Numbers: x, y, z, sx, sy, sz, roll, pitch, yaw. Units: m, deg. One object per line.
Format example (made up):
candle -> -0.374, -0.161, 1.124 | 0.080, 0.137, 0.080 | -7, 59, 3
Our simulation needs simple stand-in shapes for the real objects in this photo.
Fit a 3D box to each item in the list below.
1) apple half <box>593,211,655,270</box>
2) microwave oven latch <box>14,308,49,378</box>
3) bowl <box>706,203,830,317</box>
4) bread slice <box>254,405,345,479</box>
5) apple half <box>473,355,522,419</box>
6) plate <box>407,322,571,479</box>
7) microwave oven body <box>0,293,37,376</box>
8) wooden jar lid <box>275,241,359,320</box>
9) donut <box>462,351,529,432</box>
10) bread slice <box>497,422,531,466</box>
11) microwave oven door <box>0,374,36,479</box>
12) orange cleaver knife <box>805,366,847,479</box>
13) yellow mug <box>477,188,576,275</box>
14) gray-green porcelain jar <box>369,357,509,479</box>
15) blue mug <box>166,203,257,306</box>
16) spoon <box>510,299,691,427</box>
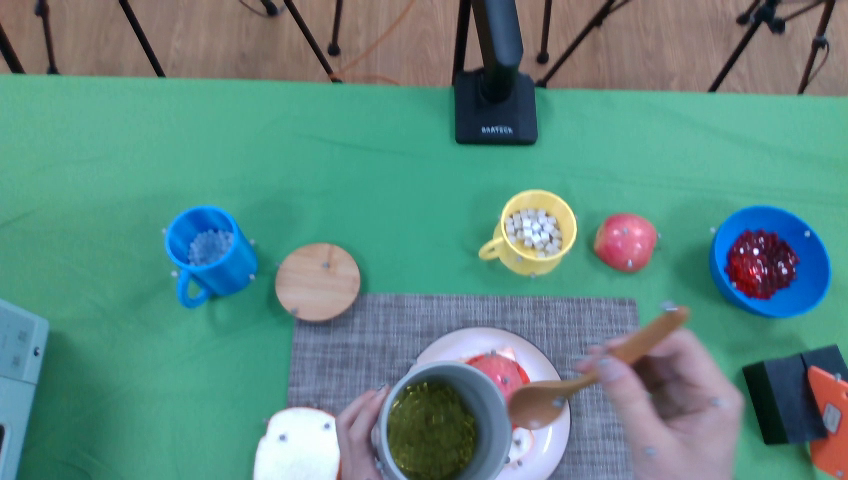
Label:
apple half -> 0.273, -0.005, 0.816 | 0.074, 0.053, 0.080 | 22, 70, 8
microwave oven latch -> -0.470, 0.121, 0.716 | 0.030, 0.029, 0.078 | 5, 70, -2
bowl -> 0.435, 0.035, 0.796 | 0.151, 0.077, 0.150 | 1, 70, -2
bread slice -> -0.149, 0.261, 0.711 | 0.105, 0.019, 0.131 | 9, 71, -1
apple half -> 0.075, 0.167, 0.678 | 0.081, 0.033, 0.080 | -1, 67, 4
plate -> 0.070, 0.205, 0.732 | 0.208, 0.039, 0.206 | 1, 70, -3
microwave oven body -> -0.616, 0.249, 0.559 | 0.326, 0.261, 0.438 | 2, 70, -3
wooden jar lid -> -0.138, 0.054, 0.786 | 0.108, 0.021, 0.107 | 1, 66, -2
donut -> 0.077, 0.180, 0.712 | 0.099, 0.048, 0.098 | 1, 70, -3
bread slice -> 0.074, 0.207, 0.742 | 0.107, 0.018, 0.133 | -14, 64, -11
microwave oven door -> -0.471, 0.291, 0.546 | 0.039, 0.245, 0.353 | 1, 69, -2
orange cleaver knife -> 0.487, 0.256, 0.716 | 0.012, 0.077, 0.211 | -8, 92, -13
yellow mug -> 0.130, -0.005, 0.802 | 0.131, 0.064, 0.099 | -22, 72, -10
gray-green porcelain jar -> 0.007, 0.164, 0.531 | 0.106, 0.127, 0.105 | 3, 70, -9
blue mug -> -0.266, 0.027, 0.746 | 0.082, 0.106, 0.116 | 21, 70, 5
spoon -> 0.111, 0.088, 0.402 | 0.041, 0.194, 0.021 | 31, 54, -1
